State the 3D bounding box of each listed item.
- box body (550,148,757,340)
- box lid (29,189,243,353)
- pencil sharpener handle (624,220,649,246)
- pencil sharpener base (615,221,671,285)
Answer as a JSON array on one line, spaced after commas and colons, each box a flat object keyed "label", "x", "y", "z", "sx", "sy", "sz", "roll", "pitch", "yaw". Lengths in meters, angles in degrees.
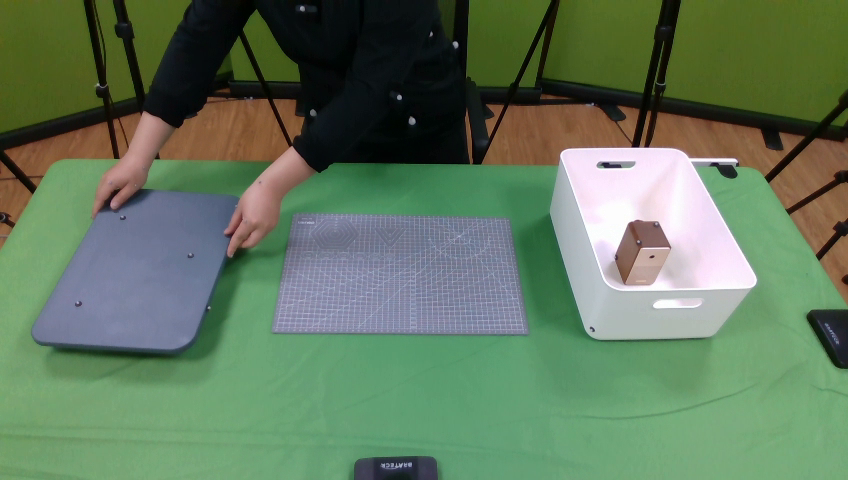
[{"label": "box body", "x": 0.395, "y": 0.003, "z": 1.127, "sx": 0.254, "sy": 0.161, "sz": 0.361, "roll": -1, "pitch": 46, "yaw": -5}, {"label": "box lid", "x": -0.489, "y": 0.040, "z": 1.070, "sx": 0.263, "sy": 0.015, "sz": 0.369, "roll": 3, "pitch": 46, "yaw": -1}, {"label": "pencil sharpener handle", "x": 0.402, "y": -0.020, "z": 1.163, "sx": 0.036, "sy": 0.068, "sz": 0.030, "roll": 5, "pitch": 44, "yaw": -10}, {"label": "pencil sharpener base", "x": 0.407, "y": 0.024, "z": 1.136, "sx": 0.061, "sy": 0.107, "sz": 0.076, "roll": -1, "pitch": 45, "yaw": -4}]
